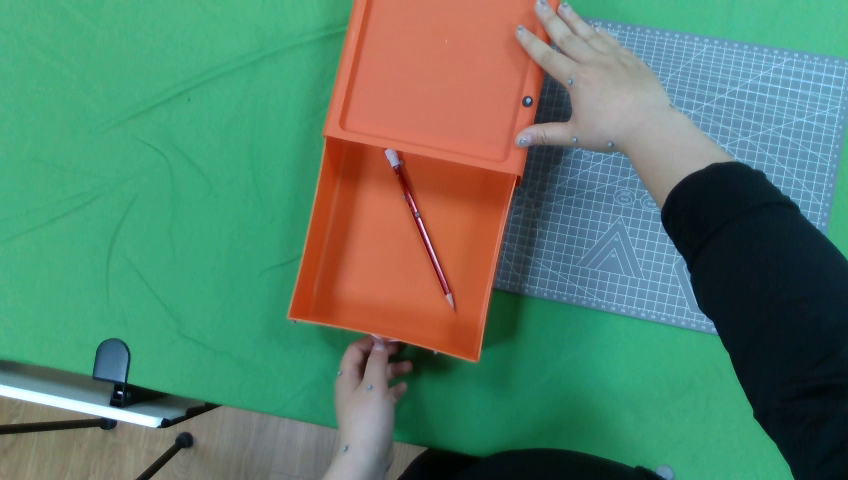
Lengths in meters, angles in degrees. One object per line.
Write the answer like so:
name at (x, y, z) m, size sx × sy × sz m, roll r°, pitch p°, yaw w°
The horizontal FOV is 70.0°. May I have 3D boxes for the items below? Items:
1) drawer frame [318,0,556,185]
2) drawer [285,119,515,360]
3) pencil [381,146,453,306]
drawer frame at (0.018, -0.179, 0.615) m, size 0.201 × 0.083 × 0.213 m, roll 11°, pitch 87°, yaw 7°
drawer at (-0.020, -0.003, 0.615) m, size 0.194 × 0.073 × 0.211 m, roll 12°, pitch 90°, yaw 7°
pencil at (-0.007, -0.019, 0.641) m, size 0.012 × 0.012 × 0.194 m, roll -23°, pitch 88°, yaw 5°
